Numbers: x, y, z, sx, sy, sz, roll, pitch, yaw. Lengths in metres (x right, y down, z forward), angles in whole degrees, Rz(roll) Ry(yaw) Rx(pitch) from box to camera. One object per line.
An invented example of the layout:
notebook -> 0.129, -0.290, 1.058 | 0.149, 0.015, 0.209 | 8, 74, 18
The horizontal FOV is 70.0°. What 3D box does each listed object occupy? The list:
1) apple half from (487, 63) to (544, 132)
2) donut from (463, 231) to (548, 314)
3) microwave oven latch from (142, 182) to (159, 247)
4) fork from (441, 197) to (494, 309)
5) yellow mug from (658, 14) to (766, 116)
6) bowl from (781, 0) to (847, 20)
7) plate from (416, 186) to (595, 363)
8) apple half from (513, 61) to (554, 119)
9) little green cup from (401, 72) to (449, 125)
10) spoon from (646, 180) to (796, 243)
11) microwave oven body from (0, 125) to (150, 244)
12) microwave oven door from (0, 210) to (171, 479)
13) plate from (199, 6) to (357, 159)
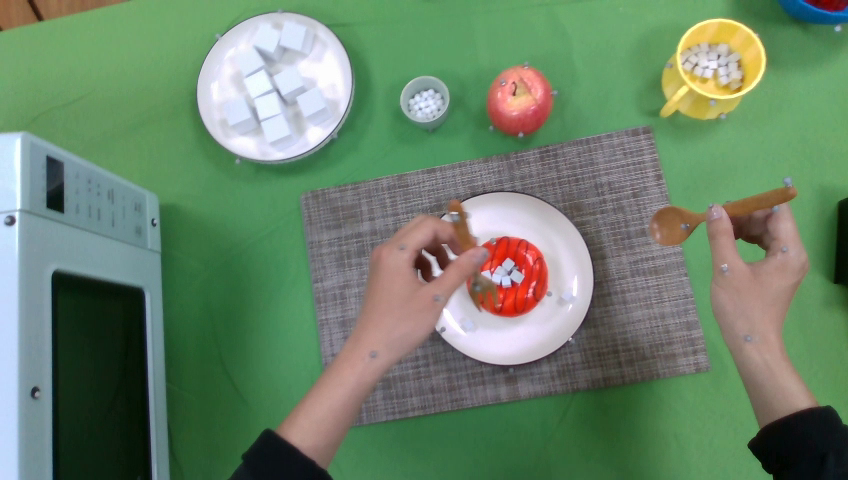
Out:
apple half -> 0.105, -0.166, 0.740 | 0.053, 0.075, 0.080 | -31, 82, 5
donut -> 0.095, 0.038, 0.709 | 0.099, 0.048, 0.098 | -1, 82, 7
microwave oven latch -> -0.353, -0.031, 0.764 | 0.030, 0.029, 0.079 | -6, 81, 5
fork -> 0.040, 0.018, 0.540 | 0.028, 0.209, 0.018 | -14, 62, 7
yellow mug -> 0.332, -0.197, 0.724 | 0.131, 0.064, 0.099 | -42, 79, -1
bowl -> 0.480, -0.322, 0.723 | 0.151, 0.077, 0.151 | -1, 81, 7
plate -> 0.094, 0.040, 0.720 | 0.209, 0.038, 0.208 | -1, 81, 6
apple half -> 0.138, -0.186, 0.738 | 0.033, 0.081, 0.081 | -31, 78, 4
little green cup -> 0.004, -0.177, 0.770 | 0.061, 0.039, 0.061 | -1, 80, 6
spoon -> 0.260, -0.026, 0.551 | 0.022, 0.194, 0.041 | -11, 85, -9
microwave oven body -> -0.491, 0.143, 0.651 | 0.326, 0.261, 0.440 | -7, 80, 4
microwave oven door -> -0.342, 0.165, 0.627 | 0.039, 0.245, 0.354 | -8, 79, 5
plate -> -0.187, -0.202, 0.794 | 0.207, 0.039, 0.207 | -1, 80, 6
